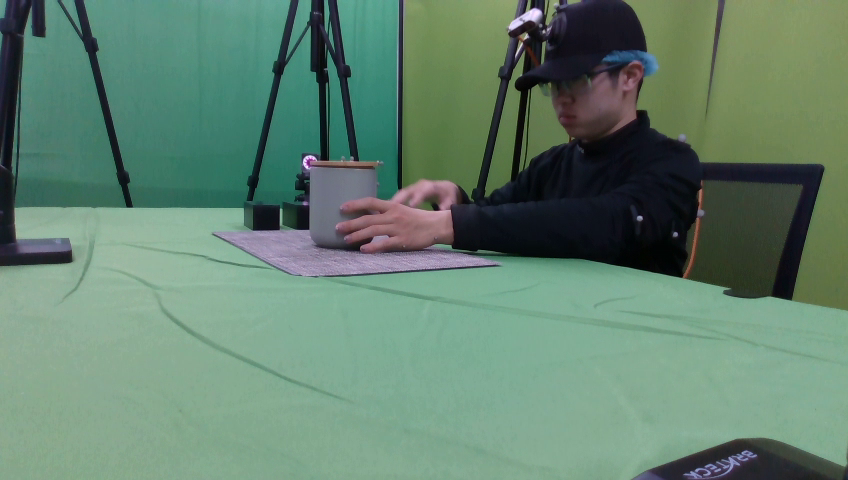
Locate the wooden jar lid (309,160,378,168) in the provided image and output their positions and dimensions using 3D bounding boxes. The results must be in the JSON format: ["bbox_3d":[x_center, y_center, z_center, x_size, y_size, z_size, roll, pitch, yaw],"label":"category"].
[{"bbox_3d":[-0.127,-0.117,0.957,0.108,0.020,0.108,1,7,0],"label":"wooden jar lid"}]

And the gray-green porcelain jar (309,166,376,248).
[{"bbox_3d":[-0.131,-0.054,0.966,0.106,0.126,0.106,2,7,0],"label":"gray-green porcelain jar"}]
